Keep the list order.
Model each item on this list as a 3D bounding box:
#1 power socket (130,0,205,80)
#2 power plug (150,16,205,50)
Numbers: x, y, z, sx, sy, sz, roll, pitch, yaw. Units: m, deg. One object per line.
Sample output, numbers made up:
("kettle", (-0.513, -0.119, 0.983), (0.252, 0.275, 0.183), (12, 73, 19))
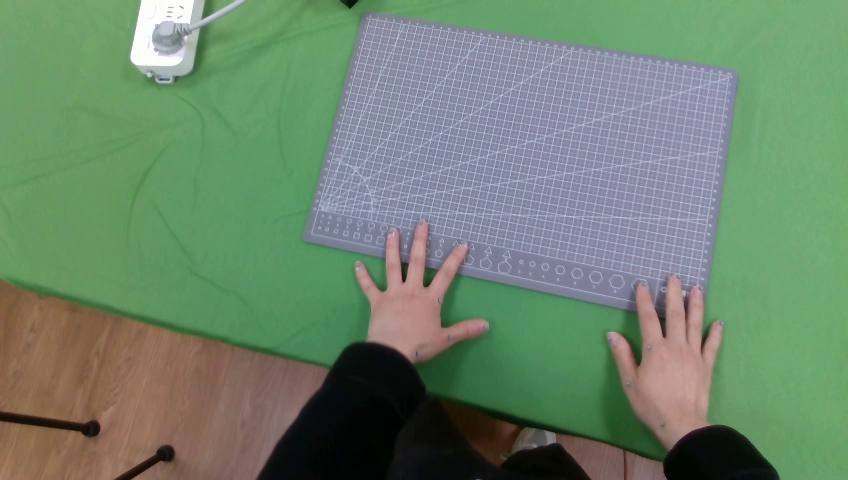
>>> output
("power socket", (-0.316, -0.313, 0.767), (0.072, 0.033, 0.225), (4, 78, 5))
("power plug", (-0.295, -0.243, 0.731), (0.072, 0.053, 0.035), (15, 78, 5))
